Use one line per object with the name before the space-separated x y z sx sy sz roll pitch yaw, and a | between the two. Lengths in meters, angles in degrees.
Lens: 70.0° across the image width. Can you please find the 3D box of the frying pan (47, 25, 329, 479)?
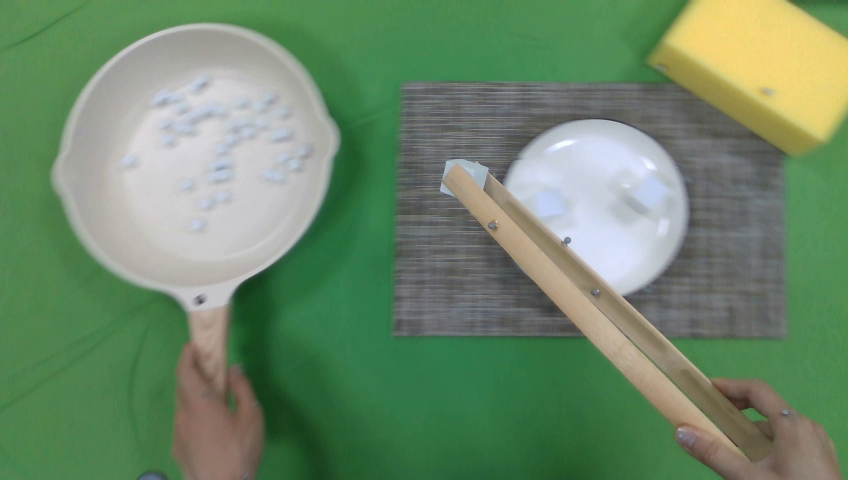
frying pan | -0.240 0.011 0.660 0.307 0.103 0.485 -8 77 1

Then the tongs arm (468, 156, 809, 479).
tongs arm | 0.165 0.063 0.525 0.383 0.051 0.026 44 122 13

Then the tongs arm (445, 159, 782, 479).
tongs arm | 0.151 0.067 0.506 0.385 0.028 0.028 47 119 17

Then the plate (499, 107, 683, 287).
plate | 0.183 -0.044 0.688 0.208 0.039 0.207 0 86 1

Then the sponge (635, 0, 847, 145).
sponge | 0.366 -0.216 0.689 0.206 0.061 0.118 33 85 5
